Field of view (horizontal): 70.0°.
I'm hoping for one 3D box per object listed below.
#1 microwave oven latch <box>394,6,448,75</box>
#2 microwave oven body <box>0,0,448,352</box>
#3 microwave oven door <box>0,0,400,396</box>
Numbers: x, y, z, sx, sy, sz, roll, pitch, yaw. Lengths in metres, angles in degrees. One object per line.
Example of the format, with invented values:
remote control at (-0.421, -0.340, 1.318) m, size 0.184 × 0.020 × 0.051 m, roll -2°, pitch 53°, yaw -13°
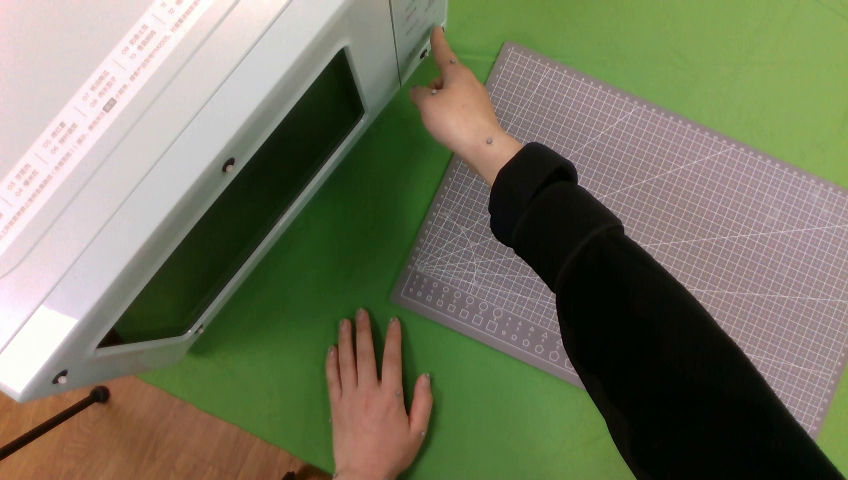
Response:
microwave oven latch at (-0.010, -0.204, 0.603) m, size 0.030 × 0.029 × 0.079 m, roll 41°, pitch 87°, yaw 2°
microwave oven body at (-0.236, -0.164, 0.502) m, size 0.326 × 0.260 × 0.441 m, roll 38°, pitch 87°, yaw 2°
microwave oven door at (-0.148, -0.041, 0.489) m, size 0.039 × 0.244 × 0.355 m, roll 38°, pitch 86°, yaw 3°
